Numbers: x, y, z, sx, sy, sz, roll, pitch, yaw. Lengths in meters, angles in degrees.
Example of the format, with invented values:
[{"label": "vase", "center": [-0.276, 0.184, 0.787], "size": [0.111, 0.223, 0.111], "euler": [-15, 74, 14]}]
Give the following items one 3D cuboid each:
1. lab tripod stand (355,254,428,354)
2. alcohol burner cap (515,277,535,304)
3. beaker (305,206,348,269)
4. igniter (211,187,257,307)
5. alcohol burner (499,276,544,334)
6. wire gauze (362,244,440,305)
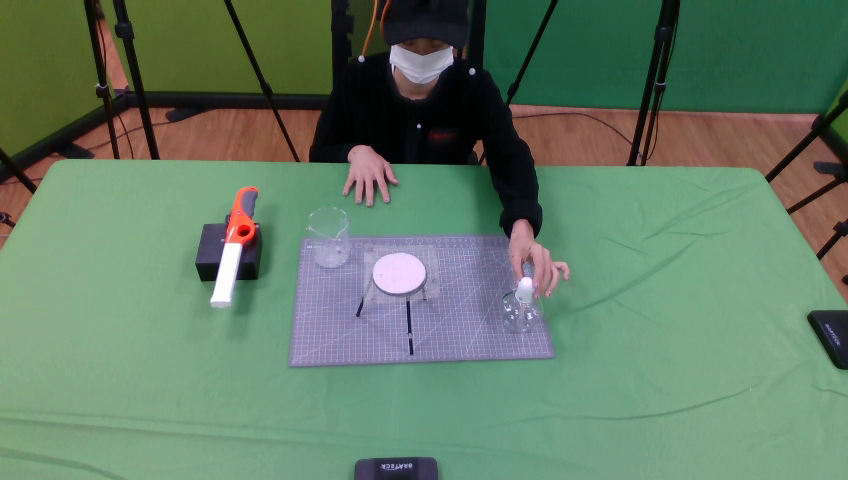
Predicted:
[{"label": "lab tripod stand", "center": [-0.046, 0.100, 1.017], "size": [0.148, 0.132, 0.147], "euler": [1, 47, -1]}, {"label": "alcohol burner cap", "center": [0.171, 0.083, 1.015], "size": [0.034, 0.048, 0.033], "euler": [-1, 52, 1]}, {"label": "beaker", "center": [-0.176, 0.001, 1.126], "size": [0.074, 0.101, 0.083], "euler": [-14, 49, -16]}, {"label": "igniter", "center": [-0.343, 0.003, 1.100], "size": [0.057, 0.025, 0.274], "euler": [2, 49, -4]}, {"label": "alcohol burner", "center": [0.170, 0.106, 1.041], "size": [0.078, 0.120, 0.077], "euler": [1, 44, -1]}, {"label": "wire gauze", "center": [-0.038, 0.051, 0.971], "size": [0.121, 0.011, 0.124], "euler": [-1, 46, -4]}]
